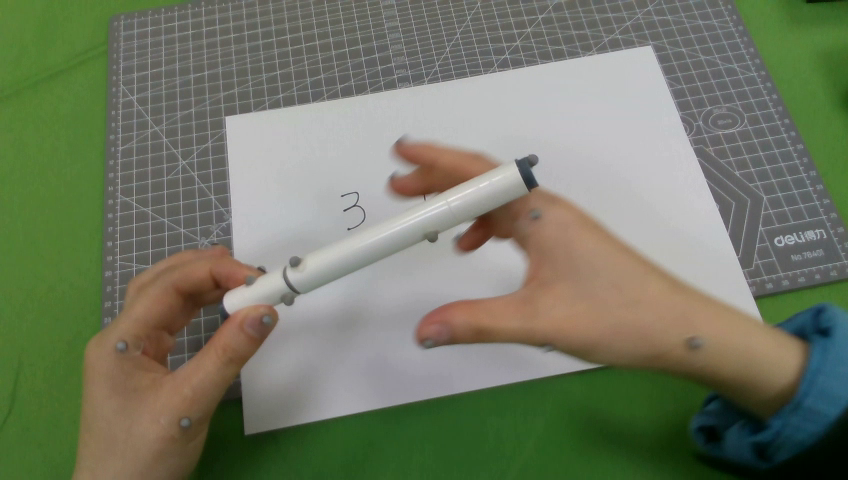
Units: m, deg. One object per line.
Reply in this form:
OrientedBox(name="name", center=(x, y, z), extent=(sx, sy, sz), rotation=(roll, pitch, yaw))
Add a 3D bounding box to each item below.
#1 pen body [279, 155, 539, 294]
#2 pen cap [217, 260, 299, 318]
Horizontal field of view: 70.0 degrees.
OrientedBox(name="pen body", center=(-0.019, 0.000, 0.261), extent=(0.144, 0.017, 0.017), rotation=(-24, 67, 14))
OrientedBox(name="pen cap", center=(-0.075, 0.024, 0.276), extent=(0.038, 0.017, 0.017), rotation=(-23, 66, 16))
